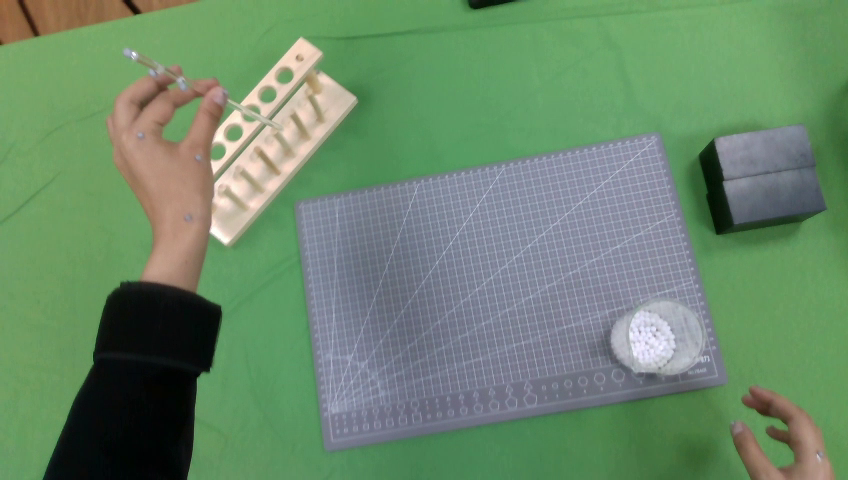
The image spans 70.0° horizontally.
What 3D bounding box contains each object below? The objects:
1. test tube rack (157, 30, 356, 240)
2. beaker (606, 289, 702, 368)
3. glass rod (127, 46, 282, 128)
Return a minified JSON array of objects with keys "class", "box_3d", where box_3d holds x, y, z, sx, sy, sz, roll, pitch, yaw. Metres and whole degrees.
[{"class":"test tube rack","box_3d":[-0.190,-0.120,0.716,0.066,0.085,0.242,38,84,12]},{"class":"beaker","box_3d":[0.232,0.098,0.630,0.073,0.101,0.084,42,84,12]},{"class":"glass rod","box_3d":[-0.173,-0.122,0.510,0.008,0.200,0.008,-1,85,17]}]
